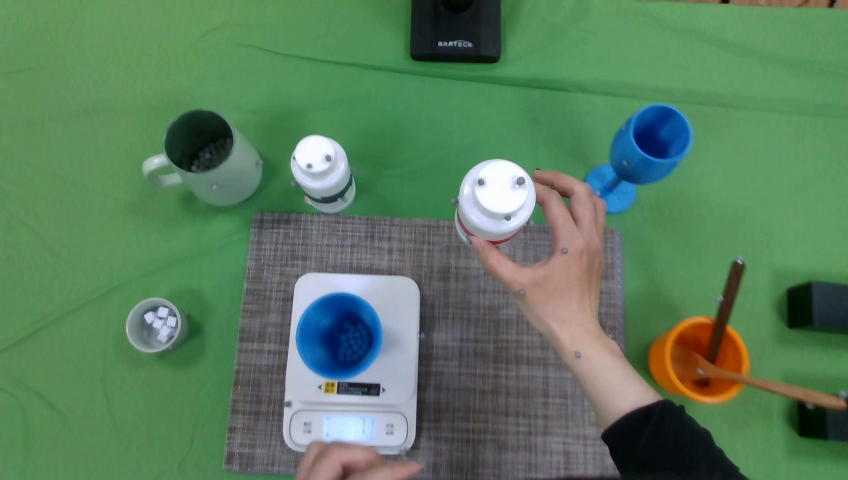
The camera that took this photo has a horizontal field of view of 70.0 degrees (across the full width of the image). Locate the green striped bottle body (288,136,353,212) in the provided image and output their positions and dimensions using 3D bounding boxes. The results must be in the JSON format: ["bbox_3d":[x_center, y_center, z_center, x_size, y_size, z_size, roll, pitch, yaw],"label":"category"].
[{"bbox_3d":[-0.119,-0.078,0.700,0.063,0.120,0.063,0,76,-1],"label":"green striped bottle body"}]

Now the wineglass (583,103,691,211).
[{"bbox_3d":[0.232,-0.087,0.681,0.074,0.173,0.073,0,77,0],"label":"wineglass"}]

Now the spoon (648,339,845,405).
[{"bbox_3d":[0.332,0.143,0.644,0.022,0.192,0.041,21,83,-40],"label":"spoon"}]

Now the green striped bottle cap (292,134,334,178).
[{"bbox_3d":[-0.119,-0.090,0.649,0.044,0.020,0.044,0,75,-1],"label":"green striped bottle cap"}]

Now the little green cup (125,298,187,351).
[{"bbox_3d":[-0.305,0.099,0.698,0.061,0.039,0.061,1,77,-2],"label":"little green cup"}]

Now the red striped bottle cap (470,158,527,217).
[{"bbox_3d":[0.059,-0.041,0.474,0.044,0.018,0.044,0,79,-1],"label":"red striped bottle cap"}]

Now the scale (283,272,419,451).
[{"bbox_3d":[-0.083,0.137,0.693,0.149,0.032,0.200,2,78,0],"label":"scale"}]

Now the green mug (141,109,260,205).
[{"bbox_3d":[-0.264,-0.090,0.708,0.125,0.105,0.092,-19,78,-5],"label":"green mug"}]

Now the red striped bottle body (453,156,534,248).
[{"bbox_3d":[0.059,-0.032,0.527,0.063,0.120,0.063,0,80,0],"label":"red striped bottle body"}]

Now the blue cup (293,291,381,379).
[{"bbox_3d":[-0.086,0.101,0.635,0.093,0.100,0.092,1,79,-3],"label":"blue cup"}]

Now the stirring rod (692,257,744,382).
[{"bbox_3d":[0.316,0.091,0.655,0.014,0.177,0.006,7,36,14],"label":"stirring rod"}]
